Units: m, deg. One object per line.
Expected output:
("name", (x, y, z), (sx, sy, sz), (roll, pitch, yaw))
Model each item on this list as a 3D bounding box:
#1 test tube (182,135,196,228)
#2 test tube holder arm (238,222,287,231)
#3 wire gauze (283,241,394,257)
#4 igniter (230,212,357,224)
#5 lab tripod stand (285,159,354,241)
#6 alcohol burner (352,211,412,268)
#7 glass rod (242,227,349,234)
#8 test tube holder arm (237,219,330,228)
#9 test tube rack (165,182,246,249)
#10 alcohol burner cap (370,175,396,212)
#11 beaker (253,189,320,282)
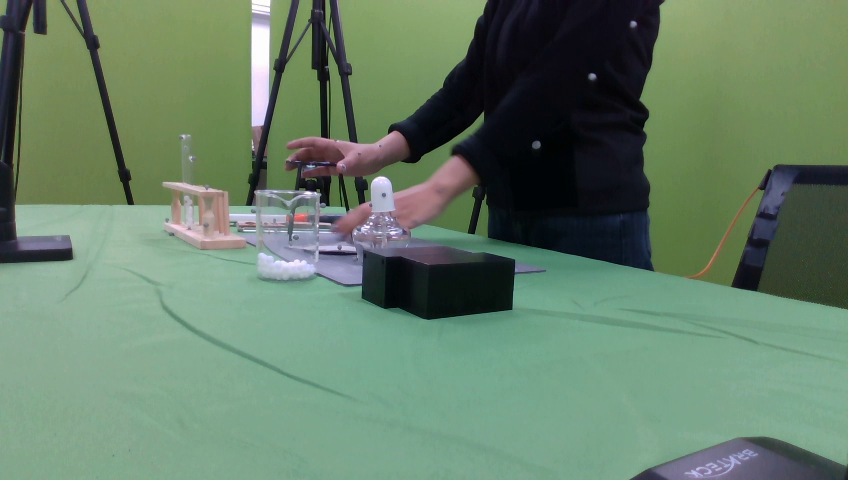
("test tube", (-0.382, -0.095, 0.983), (0.017, 0.150, 0.017), (-1, 2, 0))
("test tube holder arm", (-0.297, -0.024, 1.114), (0.088, 0.015, 0.010), (-3, 47, -33))
("wire gauze", (-0.127, 0.012, 0.894), (0.126, 0.011, 0.121), (1, 6, -35))
("igniter", (-0.271, -0.044, 1.232), (0.278, 0.025, 0.057), (-2, -2, -27))
("lab tripod stand", (-0.187, -0.068, 1.013), (0.148, 0.131, 0.148), (4, 9, 0))
("alcohol burner", (-0.055, -0.024, 0.784), (0.078, 0.119, 0.078), (1, 9, 0))
("glass rod", (-0.232, -0.016, 1.110), (0.201, 0.008, 0.008), (2, 6, -30))
("test tube holder arm", (-0.261, -0.031, 1.142), (0.179, 0.015, 0.013), (-5, 48, -34))
("test tube rack", (-0.360, -0.045, 0.982), (0.067, 0.085, 0.241), (-3, 9, -34))
("alcohol burner cap", (-0.055, -0.059, 0.778), (0.034, 0.048, 0.034), (-7, 10, 2))
("beaker", (-0.156, -0.005, 0.689), (0.074, 0.100, 0.083), (0, 8, -14))
